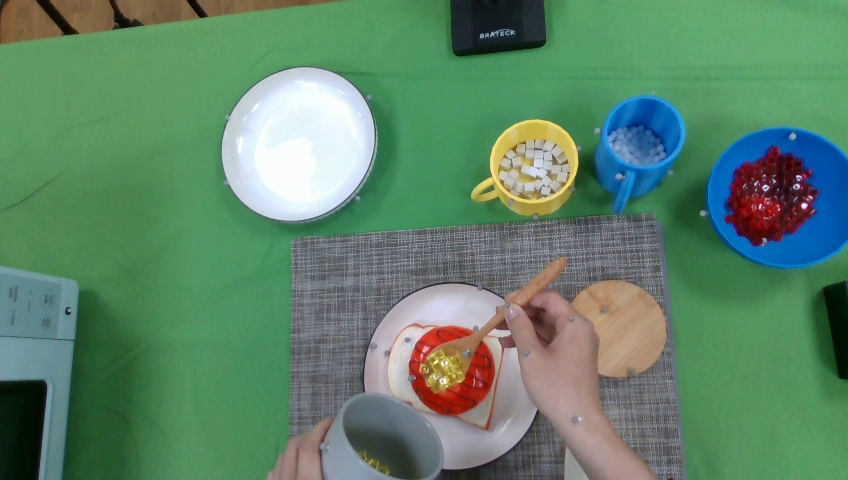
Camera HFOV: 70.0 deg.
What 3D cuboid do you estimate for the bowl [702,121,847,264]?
[{"bbox_3d":[0.373,-0.043,0.657,0.151,0.077,0.151,-2,80,10],"label":"bowl"}]

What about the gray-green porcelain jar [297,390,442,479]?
[{"bbox_3d":[-0.058,0.222,0.567,0.105,0.106,0.127,36,112,14],"label":"gray-green porcelain jar"}]

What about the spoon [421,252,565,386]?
[{"bbox_3d":[0.063,0.077,0.573,0.041,0.022,0.194,50,120,12],"label":"spoon"}]

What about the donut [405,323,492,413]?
[{"bbox_3d":[0.027,0.141,0.671,0.099,0.048,0.098,-1,80,7],"label":"donut"}]

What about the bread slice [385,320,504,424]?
[{"bbox_3d":[0.019,0.148,0.702,0.131,0.019,0.104,10,81,9],"label":"bread slice"}]

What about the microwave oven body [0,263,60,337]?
[{"bbox_3d":[-0.632,0.244,0.678,0.325,0.261,0.440,-3,80,9],"label":"microwave oven body"}]

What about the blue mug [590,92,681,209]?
[{"bbox_3d":[0.228,-0.090,0.676,0.082,0.106,0.116,17,83,13],"label":"blue mug"}]

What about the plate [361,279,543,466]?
[{"bbox_3d":[0.032,0.149,0.697,0.209,0.038,0.208,-2,79,10],"label":"plate"}]

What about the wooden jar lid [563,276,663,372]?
[{"bbox_3d":[0.212,0.095,0.685,0.108,0.021,0.108,-2,81,10],"label":"wooden jar lid"}]

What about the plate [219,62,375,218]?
[{"bbox_3d":[-0.161,-0.126,0.784,0.207,0.039,0.207,-2,80,9],"label":"plate"}]

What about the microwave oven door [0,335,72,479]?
[{"bbox_3d":[-0.488,0.278,0.642,0.039,0.245,0.354,-3,79,10],"label":"microwave oven door"}]

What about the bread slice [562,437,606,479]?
[{"bbox_3d":[0.159,0.260,0.610,0.018,0.135,0.106,4,78,3],"label":"bread slice"}]

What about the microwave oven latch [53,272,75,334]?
[{"bbox_3d":[-0.472,0.082,0.780,0.030,0.029,0.079,0,80,9],"label":"microwave oven latch"}]

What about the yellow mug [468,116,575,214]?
[{"bbox_3d":[0.112,-0.080,0.715,0.131,0.064,0.099,-25,76,6],"label":"yellow mug"}]
